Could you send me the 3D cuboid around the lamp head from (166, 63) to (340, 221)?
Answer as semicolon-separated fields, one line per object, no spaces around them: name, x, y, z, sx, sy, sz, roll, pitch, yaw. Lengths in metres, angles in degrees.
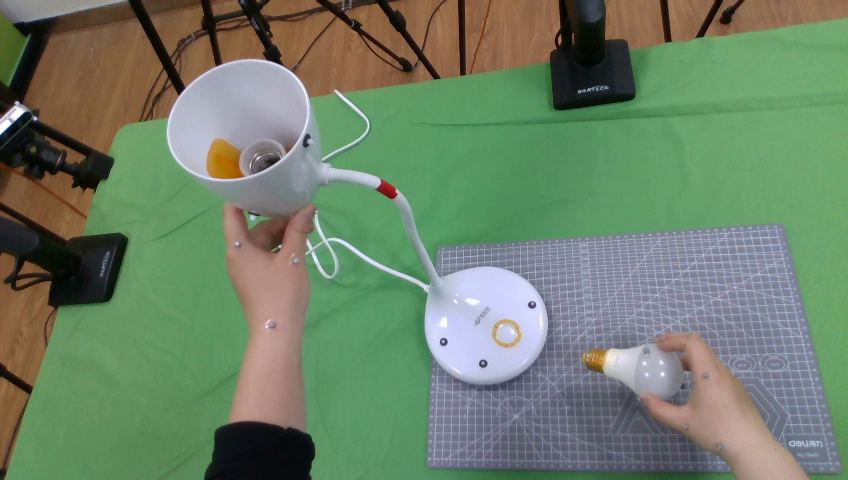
lamp head;-0.132;-0.068;0.510;0.112;0.124;0.111;-5;65;10

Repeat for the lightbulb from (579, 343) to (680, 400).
lightbulb;0.222;0.139;0.662;0.107;0.060;0.059;6;64;35

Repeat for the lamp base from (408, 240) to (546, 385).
lamp base;0.047;0.070;0.723;0.178;0.182;0.160;21;70;27
